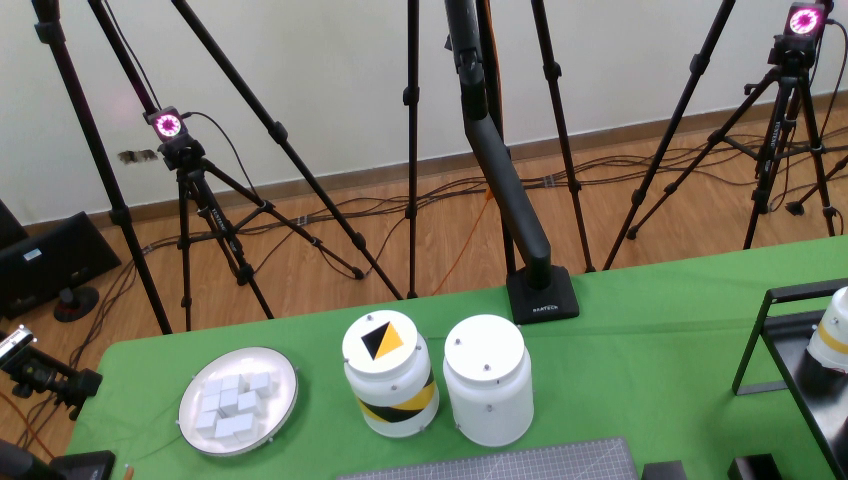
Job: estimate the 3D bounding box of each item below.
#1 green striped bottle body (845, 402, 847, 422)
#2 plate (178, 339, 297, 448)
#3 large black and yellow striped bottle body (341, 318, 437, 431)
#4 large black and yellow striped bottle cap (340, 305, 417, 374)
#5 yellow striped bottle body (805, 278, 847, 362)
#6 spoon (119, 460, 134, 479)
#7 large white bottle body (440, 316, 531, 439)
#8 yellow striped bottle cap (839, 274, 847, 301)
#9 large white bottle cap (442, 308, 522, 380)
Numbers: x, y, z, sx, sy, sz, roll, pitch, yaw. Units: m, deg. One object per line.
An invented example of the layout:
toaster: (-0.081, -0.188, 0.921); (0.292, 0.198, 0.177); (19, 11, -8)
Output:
green striped bottle body: (0.516, 0.169, 0.664); (0.063, 0.120, 0.062); (-6, 46, 6)
plate: (-0.320, 0.268, 1.058); (0.207, 0.039, 0.205); (-6, 46, 6)
large black and yellow striped bottle body: (-0.055, 0.204, 0.960); (0.130, 0.186, 0.129); (-6, 45, 6)
large black and yellow striped bottle cap: (-0.068, 0.145, 0.902); (0.115, 0.019, 0.114); (-5, 46, 6)
yellow striped bottle body: (0.517, 0.091, 0.738); (0.063, 0.121, 0.062); (-6, 46, 6)
spoon: (-0.456, 0.407, 0.877); (0.041, 0.022, 0.194); (28, 101, 36)
large white bottle body: (0.095, 0.205, 0.926); (0.130, 0.186, 0.129); (-6, 46, 6)
yellow striped bottle cap: (0.509, 0.056, 0.700); (0.044, 0.019, 0.044); (-5, 45, 5)
large white bottle cap: (0.082, 0.147, 0.866); (0.115, 0.018, 0.113); (-6, 45, 6)
